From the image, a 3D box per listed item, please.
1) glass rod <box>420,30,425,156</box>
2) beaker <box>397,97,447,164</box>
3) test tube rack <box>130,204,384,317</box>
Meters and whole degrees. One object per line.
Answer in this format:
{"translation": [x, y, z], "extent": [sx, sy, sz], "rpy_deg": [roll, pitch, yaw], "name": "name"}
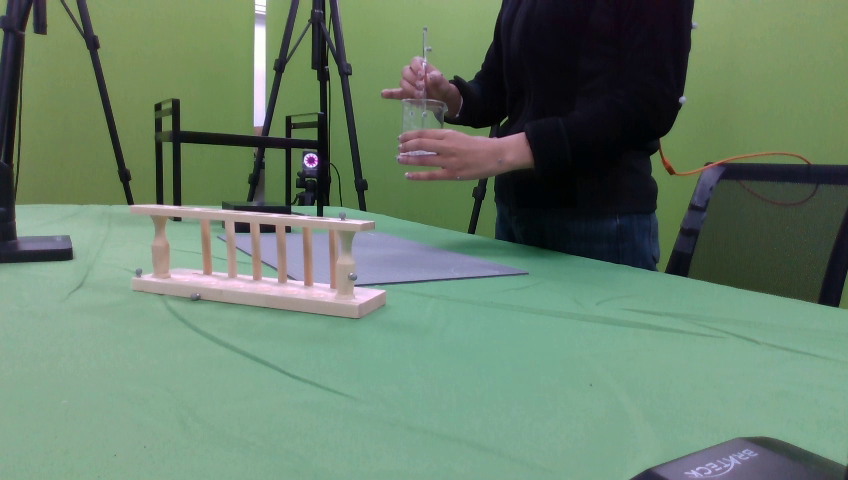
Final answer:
{"translation": [-0.001, -0.231, 0.953], "extent": [0.008, 0.199, 0.008], "rpy_deg": [1, 0, 0], "name": "glass rod"}
{"translation": [-0.003, -0.172, 0.968], "extent": [0.084, 0.100, 0.073], "rpy_deg": [0, 6, -24], "name": "beaker"}
{"translation": [-0.163, 0.013, 0.589], "extent": [0.242, 0.085, 0.067], "rpy_deg": [5, 8, 17], "name": "test tube rack"}
